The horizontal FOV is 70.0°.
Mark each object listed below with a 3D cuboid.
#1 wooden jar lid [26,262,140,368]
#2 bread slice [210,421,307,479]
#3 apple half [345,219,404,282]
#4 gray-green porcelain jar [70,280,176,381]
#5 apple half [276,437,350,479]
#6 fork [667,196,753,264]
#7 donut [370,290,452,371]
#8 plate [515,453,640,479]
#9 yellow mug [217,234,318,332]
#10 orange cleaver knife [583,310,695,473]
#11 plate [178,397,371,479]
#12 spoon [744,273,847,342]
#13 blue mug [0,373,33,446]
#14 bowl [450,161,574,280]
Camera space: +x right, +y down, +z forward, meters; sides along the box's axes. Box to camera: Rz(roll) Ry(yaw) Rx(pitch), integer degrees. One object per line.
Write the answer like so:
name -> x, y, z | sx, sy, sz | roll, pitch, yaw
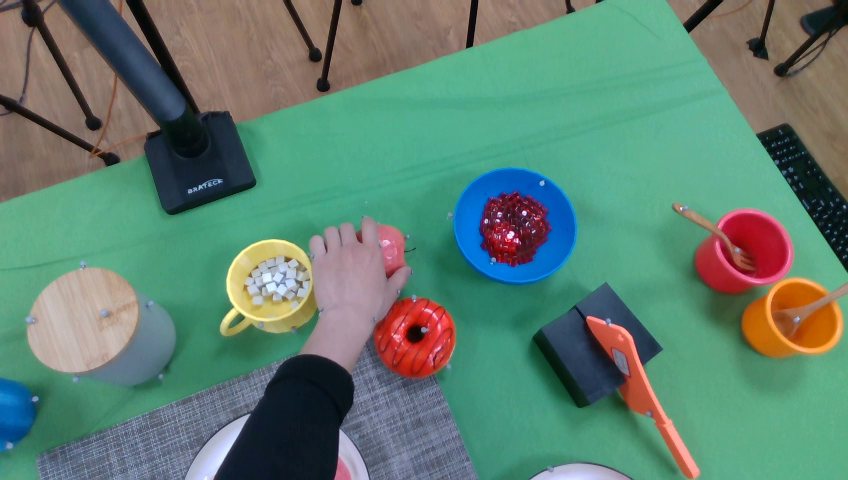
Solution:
wooden jar lid -> -0.341, 0.076, 0.611 | 0.108, 0.021, 0.107 | 1, 69, -1
bread slice -> -0.152, 0.280, 0.659 | 0.107, 0.018, 0.133 | -32, 74, -12
apple half -> -0.063, 0.009, 0.755 | 0.075, 0.053, 0.080 | -1, 71, 0
gray-green porcelain jar -> -0.343, 0.098, 0.669 | 0.106, 0.127, 0.105 | 1, 70, -2
apple half -> -0.118, 0.252, 0.647 | 0.081, 0.033, 0.080 | 1, 69, -3
fork -> 0.349, -0.011, 0.731 | 0.209, 0.018, 0.028 | 26, 64, -38
donut -> -0.015, 0.108, 0.722 | 0.099, 0.048, 0.098 | 1, 71, -3
plate -> 0.169, 0.341, 0.656 | 0.209, 0.038, 0.207 | 1, 71, -2
yellow mug -> -0.192, 0.061, 0.722 | 0.099, 0.064, 0.130 | 42, 75, 12
orange cleaver knife -> 0.245, 0.172, 0.696 | 0.012, 0.077, 0.212 | -31, 97, -20
plate -> -0.160, 0.278, 0.658 | 0.208, 0.039, 0.206 | 1, 71, -3
spoon -> 0.469, 0.062, 0.711 | 0.022, 0.194, 0.041 | -6, 60, -53
blue mug -> -0.499, 0.189, 0.640 | 0.082, 0.106, 0.116 | 40, 74, 11
bowl -> 0.104, -0.014, 0.757 | 0.151, 0.077, 0.150 | 1, 71, -2
